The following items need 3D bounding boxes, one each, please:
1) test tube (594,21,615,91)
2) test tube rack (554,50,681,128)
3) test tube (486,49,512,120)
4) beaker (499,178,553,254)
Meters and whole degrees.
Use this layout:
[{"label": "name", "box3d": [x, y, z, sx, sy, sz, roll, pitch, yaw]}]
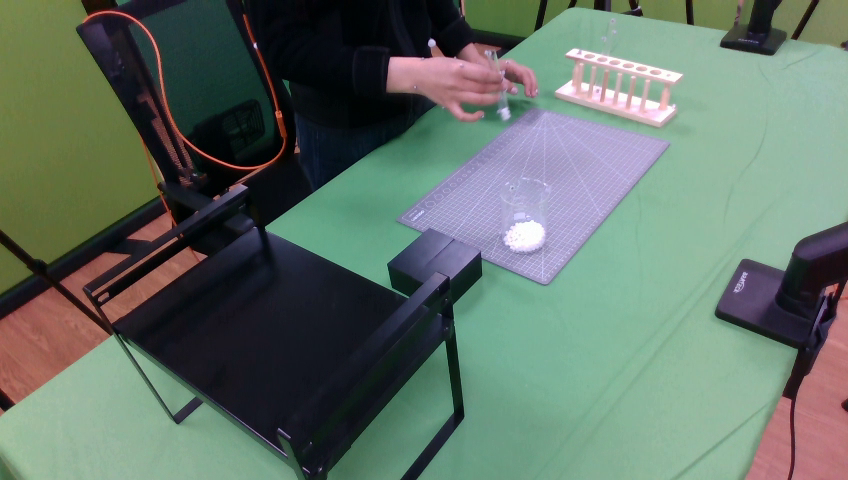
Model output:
[{"label": "test tube", "box3d": [0.366, -0.372, 1.232, 0.017, 0.151, 0.017, 0, 43, 0]}, {"label": "test tube rack", "box3d": [0.388, -0.311, 1.234, 0.240, 0.085, 0.067, 28, 52, 35]}, {"label": "test tube", "box3d": [0.125, -0.253, 0.997, 0.017, 0.151, 0.017, -10, 55, 15]}, {"label": "beaker", "box3d": [0.158, -0.035, 0.929, 0.084, 0.100, 0.073, -16, 41, -12]}]
